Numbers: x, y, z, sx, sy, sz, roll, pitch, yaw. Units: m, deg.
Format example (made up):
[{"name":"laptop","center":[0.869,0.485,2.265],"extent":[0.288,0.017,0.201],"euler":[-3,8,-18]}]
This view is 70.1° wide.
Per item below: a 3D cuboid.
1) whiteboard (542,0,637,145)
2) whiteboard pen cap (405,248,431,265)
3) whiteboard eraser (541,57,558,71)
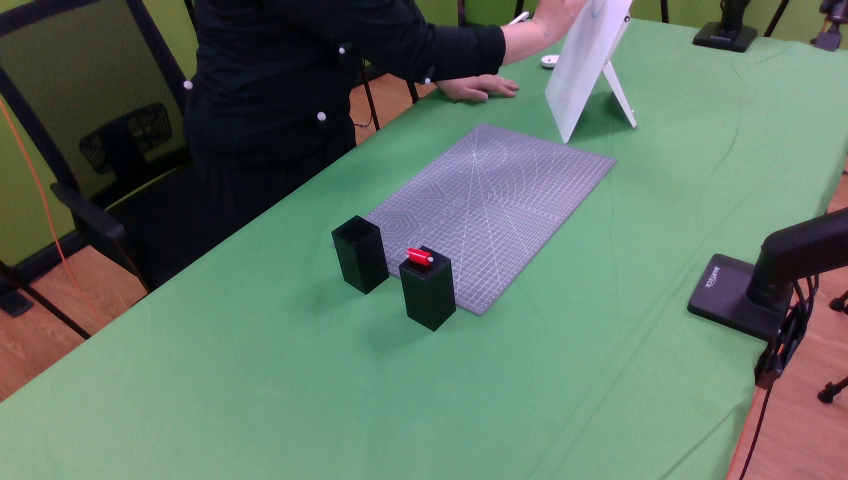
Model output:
[{"name":"whiteboard","center":[0.366,-0.351,1.160],"extent":[0.144,0.305,0.216],"euler":[10,39,-10]},{"name":"whiteboard pen cap","center":[-0.008,0.021,0.794],"extent":[0.032,0.017,0.017],"euler":[16,45,28]},{"name":"whiteboard eraser","center":[0.324,-0.412,1.408],"extent":[0.101,0.019,0.041],"euler":[2,42,11]}]
